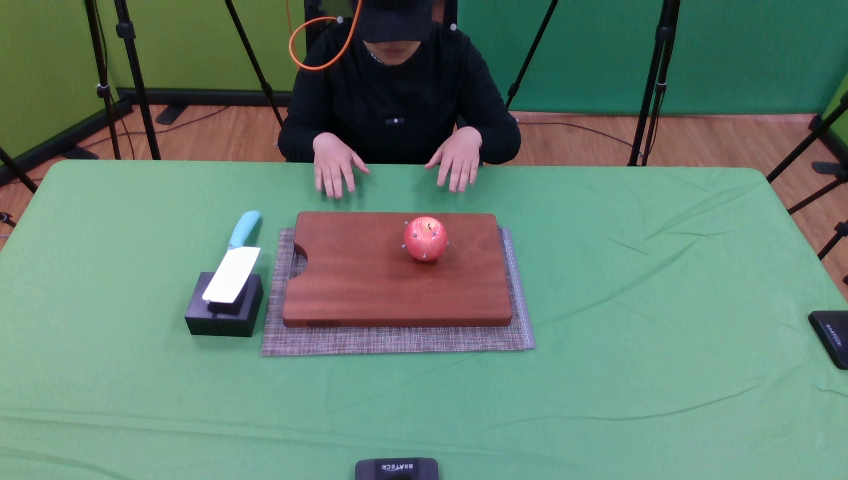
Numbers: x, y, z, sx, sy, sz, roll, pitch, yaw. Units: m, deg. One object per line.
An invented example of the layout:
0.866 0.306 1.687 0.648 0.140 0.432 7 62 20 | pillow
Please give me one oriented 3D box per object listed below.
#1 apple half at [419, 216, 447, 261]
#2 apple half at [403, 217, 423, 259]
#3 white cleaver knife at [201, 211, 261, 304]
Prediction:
0.016 0.000 1.125 0.053 0.075 0.080 3 43 -6 | apple half
-0.022 -0.002 1.121 0.033 0.081 0.081 3 46 -7 | apple half
-0.336 0.029 1.110 0.066 0.021 0.285 6 34 -3 | white cleaver knife
